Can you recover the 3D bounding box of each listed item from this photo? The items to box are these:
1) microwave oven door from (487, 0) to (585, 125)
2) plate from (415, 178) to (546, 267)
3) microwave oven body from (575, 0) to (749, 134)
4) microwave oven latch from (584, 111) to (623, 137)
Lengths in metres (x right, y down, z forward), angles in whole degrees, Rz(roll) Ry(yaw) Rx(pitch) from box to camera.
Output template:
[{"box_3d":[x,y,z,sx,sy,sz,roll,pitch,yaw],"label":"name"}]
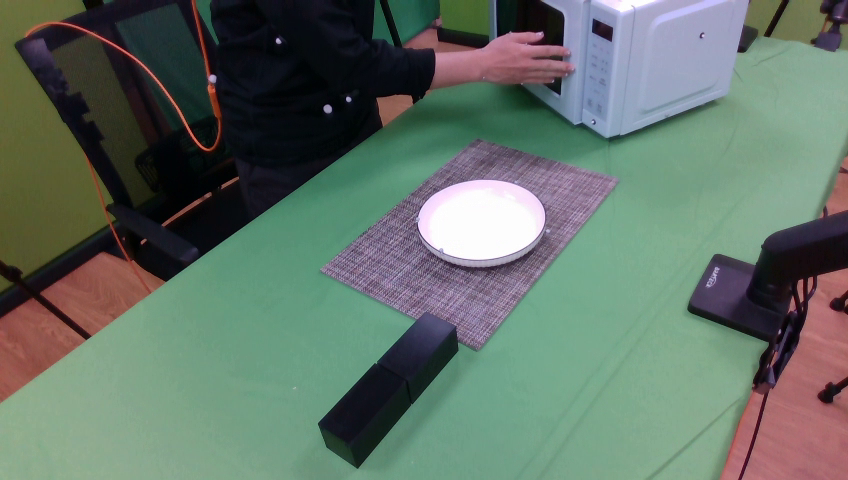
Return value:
[{"box_3d":[0.224,-0.417,1.229,0.039,0.245,0.352,-20,42,-14],"label":"microwave oven door"},{"box_3d":[0.091,-0.026,0.970,0.207,0.039,0.206,-4,41,4],"label":"plate"},{"box_3d":[0.382,-0.444,1.246,0.327,0.261,0.437,-22,42,-16],"label":"microwave oven body"},{"box_3d":[0.337,-0.222,1.142,0.030,0.029,0.078,-21,42,-14],"label":"microwave oven latch"}]
